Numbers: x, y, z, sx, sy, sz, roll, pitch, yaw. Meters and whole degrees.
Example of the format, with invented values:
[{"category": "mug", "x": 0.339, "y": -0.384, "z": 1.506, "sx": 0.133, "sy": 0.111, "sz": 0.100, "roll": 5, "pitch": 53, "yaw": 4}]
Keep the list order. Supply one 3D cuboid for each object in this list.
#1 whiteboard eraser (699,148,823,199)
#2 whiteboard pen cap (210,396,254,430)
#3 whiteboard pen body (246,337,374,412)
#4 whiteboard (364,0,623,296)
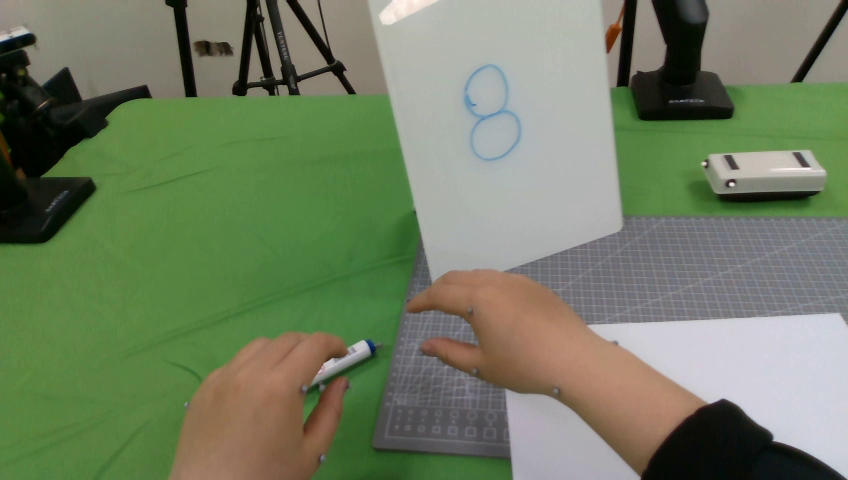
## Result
[{"category": "whiteboard eraser", "x": 0.368, "y": -0.073, "z": 0.667, "sx": 0.112, "sy": 0.042, "sz": 0.055, "roll": -1, "pitch": 42, "yaw": 6}, {"category": "whiteboard pen cap", "x": -0.156, "y": 0.140, "z": 0.494, "sx": 0.033, "sy": 0.018, "sz": 0.018, "roll": -26, "pitch": 44, "yaw": -22}, {"category": "whiteboard pen body", "x": -0.107, "y": 0.118, "z": 0.516, "sx": 0.141, "sy": 0.017, "sz": 0.017, "roll": -24, "pitch": 43, "yaw": -22}, {"category": "whiteboard", "x": 0.058, "y": -0.135, "z": 0.624, "sx": 0.217, "sy": 0.307, "sz": 0.142, "roll": -18, "pitch": 21, "yaw": -12}]
